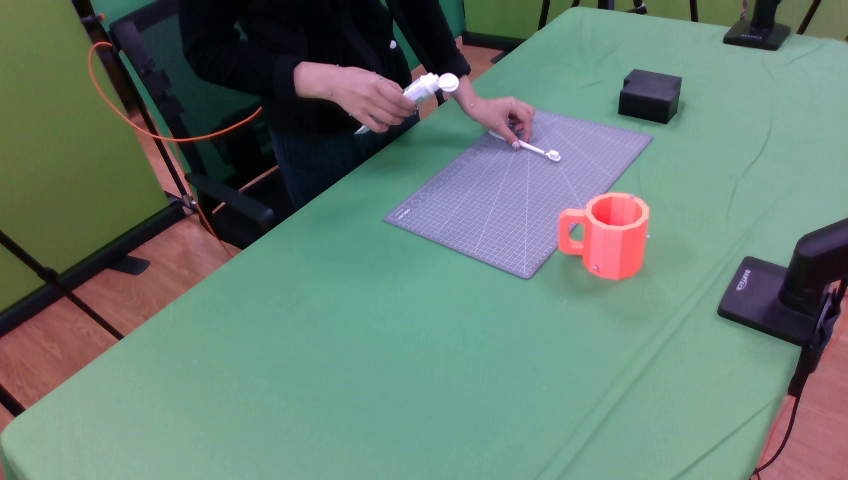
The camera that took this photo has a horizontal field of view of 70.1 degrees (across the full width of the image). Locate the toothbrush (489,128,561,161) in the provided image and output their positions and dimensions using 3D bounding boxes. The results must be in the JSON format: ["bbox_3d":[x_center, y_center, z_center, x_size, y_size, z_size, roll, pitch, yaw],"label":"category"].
[{"bbox_3d":[0.191,-0.188,1.167,0.014,0.017,0.180,-47,49,-13],"label":"toothbrush"}]

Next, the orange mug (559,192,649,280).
[{"bbox_3d":[0.261,-0.008,0.884,0.126,0.101,0.083,9,43,14],"label":"orange mug"}]

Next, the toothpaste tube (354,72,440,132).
[{"bbox_3d":[-0.044,-0.226,1.004,0.165,0.034,0.055,-31,-2,16],"label":"toothpaste tube"}]

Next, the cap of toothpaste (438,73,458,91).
[{"bbox_3d":[0.038,-0.263,1.000,0.037,0.011,0.037,0,64,0],"label":"cap of toothpaste"}]
